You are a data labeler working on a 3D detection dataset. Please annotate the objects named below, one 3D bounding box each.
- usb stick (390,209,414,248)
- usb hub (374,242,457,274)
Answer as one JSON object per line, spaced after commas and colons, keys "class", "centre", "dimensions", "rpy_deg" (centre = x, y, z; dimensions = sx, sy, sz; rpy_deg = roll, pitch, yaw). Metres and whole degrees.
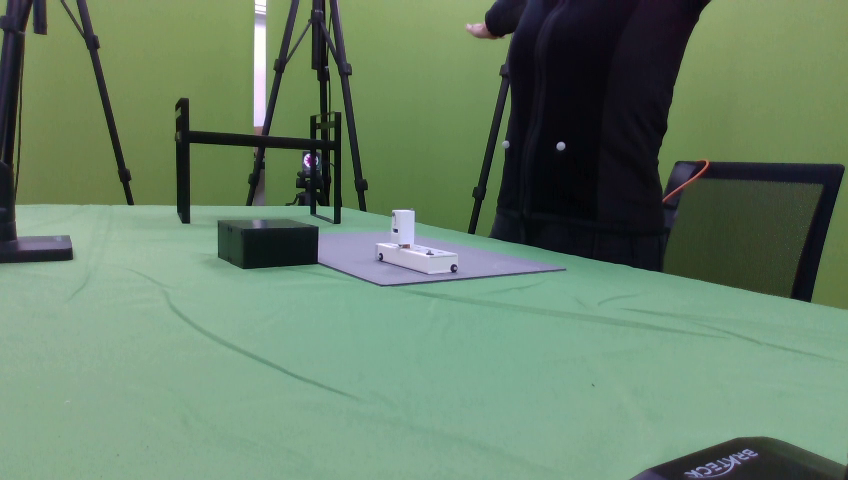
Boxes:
{"class": "usb stick", "centre": [-0.029, -0.011, 0.791], "dimensions": [0.027, 0.059, 0.021], "rpy_deg": [-7, 13, -39]}
{"class": "usb hub", "centre": [-0.014, 0.021, 0.799], "dimensions": [0.050, 0.025, 0.124], "rpy_deg": [-4, 9, -37]}
